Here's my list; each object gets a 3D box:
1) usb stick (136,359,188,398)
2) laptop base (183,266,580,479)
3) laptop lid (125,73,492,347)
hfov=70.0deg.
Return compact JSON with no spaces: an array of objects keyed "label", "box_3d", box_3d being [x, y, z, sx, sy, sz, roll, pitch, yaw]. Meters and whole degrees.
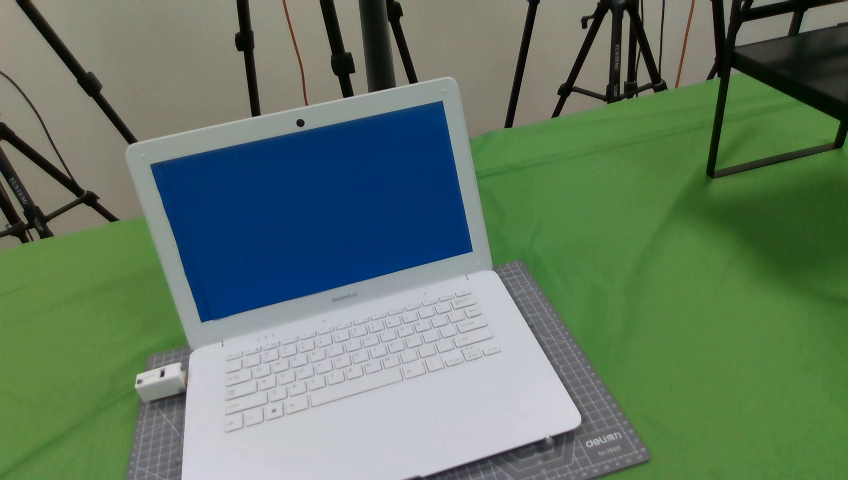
[{"label":"usb stick","box_3d":[-0.262,0.141,0.625,0.059,0.027,0.021,-12,34,-10]},{"label":"laptop base","box_3d":[-0.056,0.143,0.601,0.355,0.023,0.233,-15,39,-8]},{"label":"laptop lid","box_3d":[-0.111,-0.031,0.664,0.357,0.243,0.013,-16,15,-8]}]
